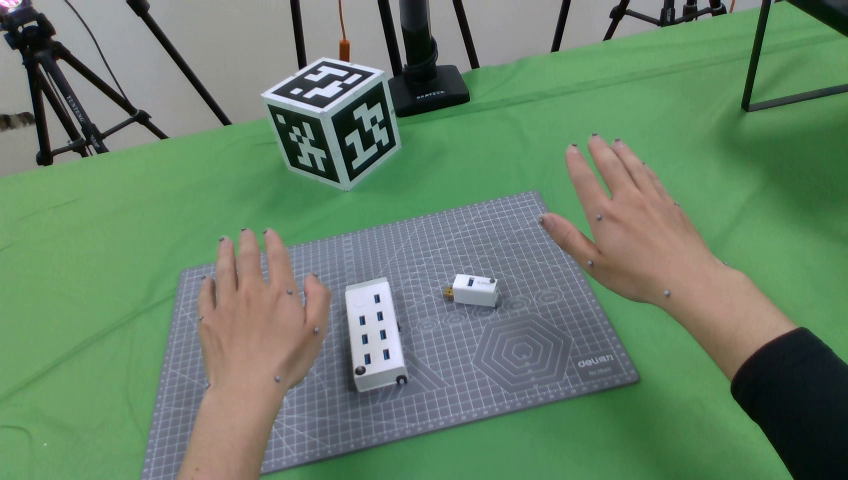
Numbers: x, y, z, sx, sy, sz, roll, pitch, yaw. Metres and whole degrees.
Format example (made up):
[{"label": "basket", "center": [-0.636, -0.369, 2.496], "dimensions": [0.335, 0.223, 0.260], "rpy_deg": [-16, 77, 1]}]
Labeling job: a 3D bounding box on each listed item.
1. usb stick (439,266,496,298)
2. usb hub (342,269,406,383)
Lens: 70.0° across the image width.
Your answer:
[{"label": "usb stick", "center": [0.044, 0.043, 0.630], "dimensions": [0.059, 0.027, 0.021], "rpy_deg": [4, 44, 20]}, {"label": "usb hub", "center": [-0.053, 0.083, 0.609], "dimensions": [0.049, 0.025, 0.123], "rpy_deg": [-14, 41, -2]}]
